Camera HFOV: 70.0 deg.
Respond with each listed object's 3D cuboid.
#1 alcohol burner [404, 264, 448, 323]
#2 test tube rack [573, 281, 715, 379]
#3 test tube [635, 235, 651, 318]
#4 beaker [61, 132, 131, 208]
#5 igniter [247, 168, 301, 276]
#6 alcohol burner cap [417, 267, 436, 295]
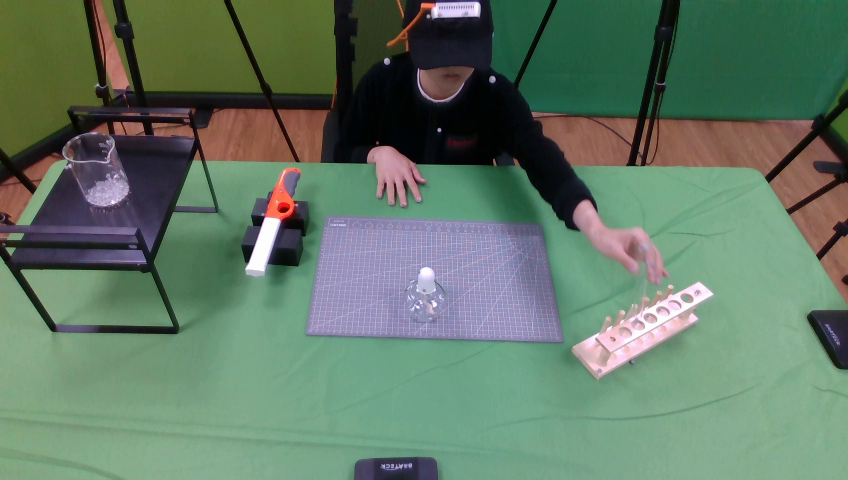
[{"bbox_3d":[0.003,0.087,1.042,0.078,0.120,0.077,1,45,0],"label":"alcohol burner"},{"bbox_3d":[0.378,0.140,1.038,0.242,0.085,0.066,-22,51,-23],"label":"test tube rack"},{"bbox_3d":[0.337,0.060,0.933,0.017,0.151,0.017,-6,31,4],"label":"test tube"},{"bbox_3d":[-0.512,-0.107,0.959,0.083,0.101,0.074,29,51,22],"label":"beaker"},{"bbox_3d":[-0.282,-0.043,1.149,0.057,0.025,0.275,8,48,-1],"label":"igniter"},{"bbox_3d":[0.004,0.066,1.019,0.034,0.048,0.033,0,47,1],"label":"alcohol burner cap"}]
